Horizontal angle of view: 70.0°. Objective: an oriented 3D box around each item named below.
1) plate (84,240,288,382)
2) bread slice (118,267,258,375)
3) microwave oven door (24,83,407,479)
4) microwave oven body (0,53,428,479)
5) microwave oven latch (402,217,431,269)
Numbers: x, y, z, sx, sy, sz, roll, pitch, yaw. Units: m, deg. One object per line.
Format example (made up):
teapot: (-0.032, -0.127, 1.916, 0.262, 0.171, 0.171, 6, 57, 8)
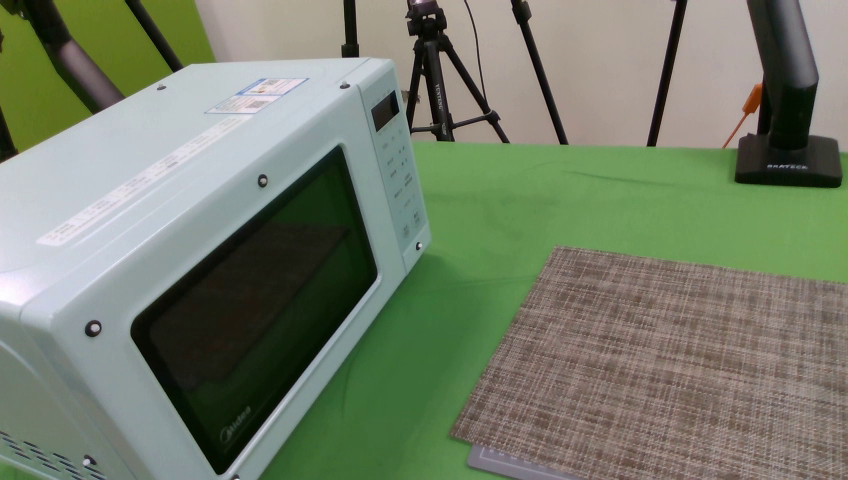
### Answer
plate: (-0.241, 0.073, 0.634, 0.209, 0.038, 0.207, -9, 33, 7)
bread slice: (-0.243, 0.076, 0.639, 0.104, 0.019, 0.131, 14, 46, 33)
microwave oven door: (-0.130, 0.042, 0.537, 0.039, 0.246, 0.354, 6, 37, 26)
microwave oven body: (-0.242, 0.009, 0.634, 0.324, 0.262, 0.440, 7, 38, 26)
microwave oven latch: (-0.017, 0.002, 0.748, 0.030, 0.030, 0.079, 7, 39, 27)
